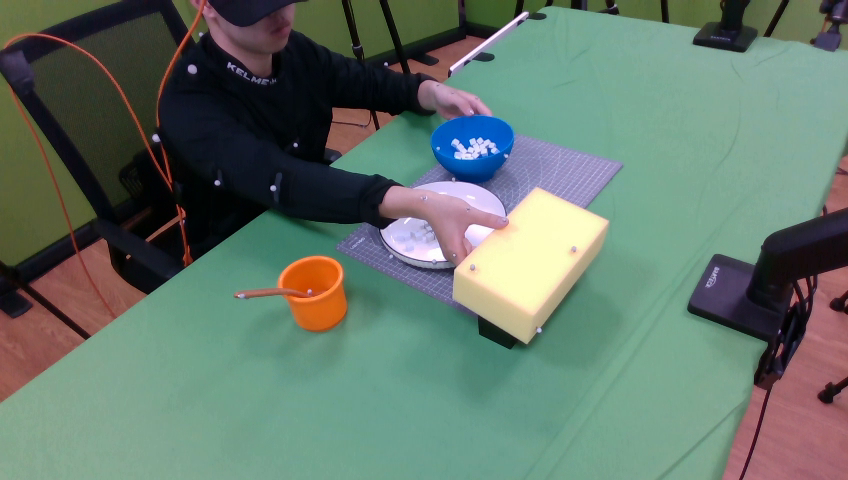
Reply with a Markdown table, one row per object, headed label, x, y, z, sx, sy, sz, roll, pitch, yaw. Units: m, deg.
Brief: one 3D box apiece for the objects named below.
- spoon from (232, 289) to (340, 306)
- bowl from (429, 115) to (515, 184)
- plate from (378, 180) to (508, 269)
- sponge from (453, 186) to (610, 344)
| label | x | y | z | sx | sy | sz | roll | pitch | yaw |
| --- | --- | --- | --- | --- | --- | --- | --- | --- | --- |
| spoon | -0.181 | 0.074 | 0.812 | 0.041 | 0.195 | 0.021 | 16 | 90 | 31 |
| bowl | 0.089 | -0.154 | 1.088 | 0.151 | 0.077 | 0.150 | -4 | 41 | 4 |
| plate | 0.031 | -0.022 | 0.974 | 0.209 | 0.038 | 0.208 | -4 | 40 | 4 |
| sponge | 0.145 | 0.026 | 0.806 | 0.117 | 0.061 | 0.207 | 29 | 52 | 24 |
